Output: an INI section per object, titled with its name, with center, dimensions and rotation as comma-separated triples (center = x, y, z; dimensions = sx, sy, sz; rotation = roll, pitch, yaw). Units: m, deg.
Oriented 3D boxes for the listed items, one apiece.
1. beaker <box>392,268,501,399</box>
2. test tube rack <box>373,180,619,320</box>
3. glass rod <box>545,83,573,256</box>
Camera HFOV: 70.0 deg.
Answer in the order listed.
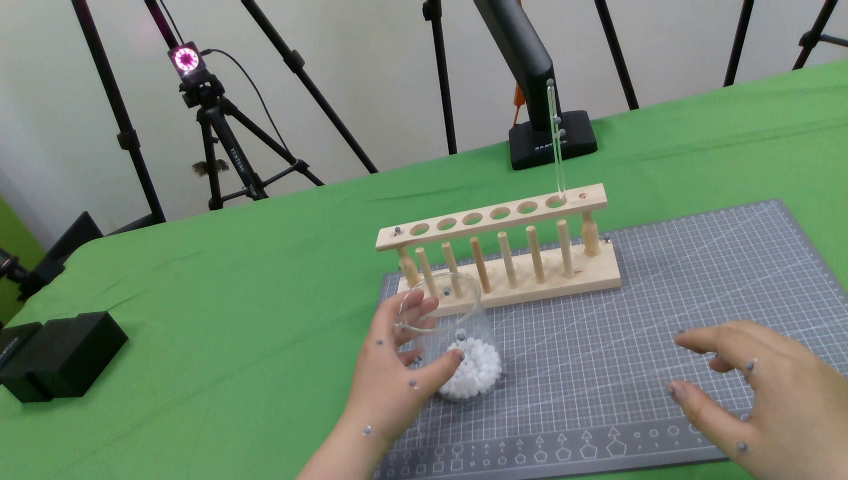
[beaker]
center = 0.024, 0.088, 0.546
dimensions = 0.084, 0.101, 0.073
rotation = -23, 33, -3
[test tube rack]
center = 0.072, 0.014, 0.639
dimensions = 0.242, 0.086, 0.066
rotation = -11, 35, 14
[glass rod]
center = 0.133, -0.060, 0.590
dimensions = 0.008, 0.202, 0.008
rotation = -11, 37, 9
